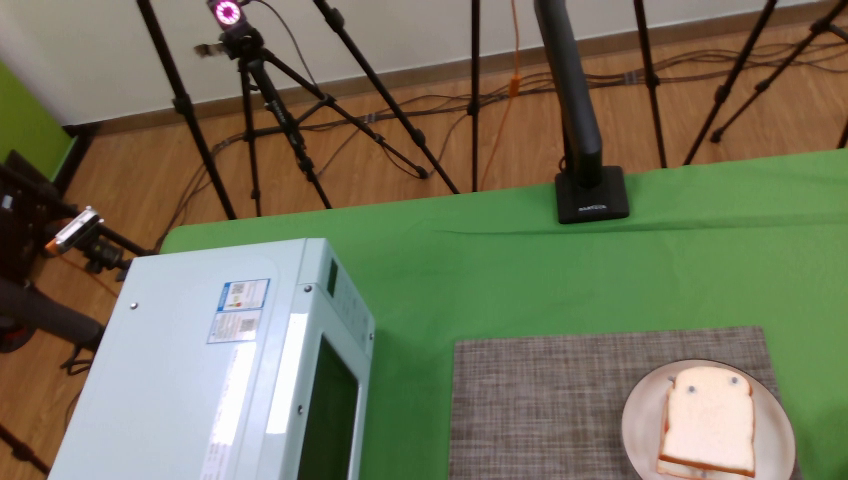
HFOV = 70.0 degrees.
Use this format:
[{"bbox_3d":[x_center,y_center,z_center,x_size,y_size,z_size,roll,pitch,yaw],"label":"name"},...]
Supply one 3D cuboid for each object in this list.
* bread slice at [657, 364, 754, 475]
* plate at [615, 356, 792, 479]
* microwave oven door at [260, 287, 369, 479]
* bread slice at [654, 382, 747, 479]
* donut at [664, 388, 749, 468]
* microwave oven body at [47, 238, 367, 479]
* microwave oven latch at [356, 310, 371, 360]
[{"bbox_3d":[0.347,0.213,0.746,0.104,0.019,0.130,2,52,26],"label":"bread slice"},{"bbox_3d":[0.357,0.252,0.787,0.207,0.039,0.205,-8,52,11],"label":"plate"},{"bbox_3d":[-0.136,0.270,0.772,0.039,0.246,0.352,-7,53,12],"label":"microwave oven door"},{"bbox_3d":[0.358,0.246,0.791,0.106,0.018,0.133,3,54,17],"label":"bread slice"},{"bbox_3d":[0.353,0.236,0.761,0.099,0.049,0.098,-5,57,9],"label":"donut"},{"bbox_3d":[-0.275,0.257,0.830,0.325,0.263,0.437,-6,53,11],"label":"microwave oven body"},{"bbox_3d":[-0.102,0.155,0.980,0.030,0.030,0.078,-6,53,11],"label":"microwave oven latch"}]
